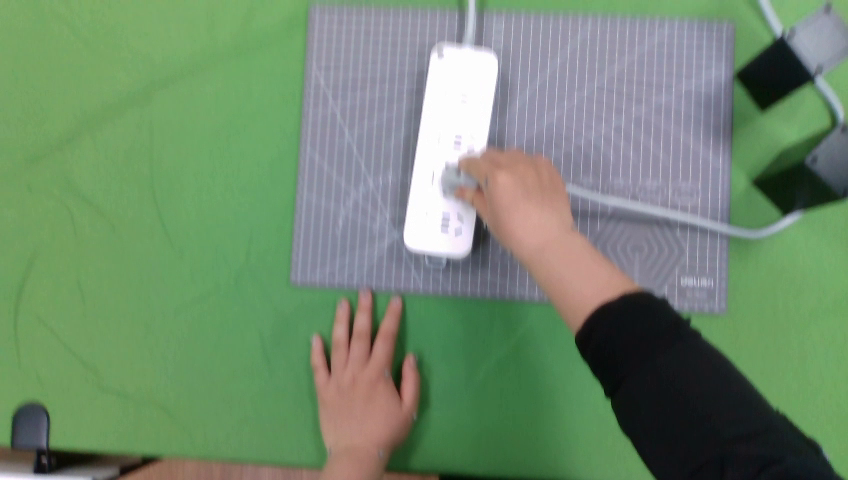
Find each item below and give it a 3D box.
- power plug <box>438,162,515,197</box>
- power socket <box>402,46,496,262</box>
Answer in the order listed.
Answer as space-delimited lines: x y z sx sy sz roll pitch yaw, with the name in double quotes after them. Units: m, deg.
0.049 -0.054 0.602 0.072 0.053 0.035 21 86 4 "power plug"
0.026 -0.090 0.625 0.072 0.032 0.226 8 86 3 "power socket"
